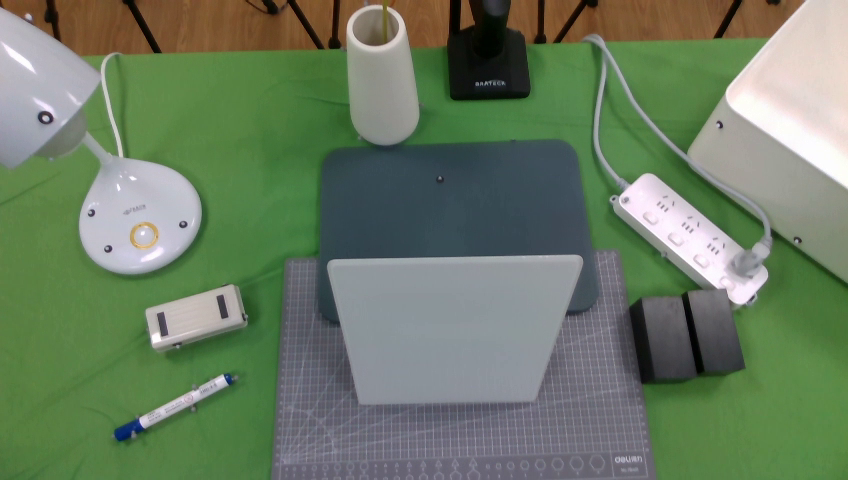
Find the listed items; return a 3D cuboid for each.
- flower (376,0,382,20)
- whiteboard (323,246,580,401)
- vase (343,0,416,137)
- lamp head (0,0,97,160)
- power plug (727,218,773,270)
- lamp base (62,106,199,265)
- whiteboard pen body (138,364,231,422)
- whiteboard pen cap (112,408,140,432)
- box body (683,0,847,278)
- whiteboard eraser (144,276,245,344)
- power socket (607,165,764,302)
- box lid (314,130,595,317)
[{"bbox_3d":[-0.054,-0.267,0.726,0.044,0.364,0.038,34,56,18],"label":"flower"},{"bbox_3d":[0.024,0.048,0.660,0.217,0.308,0.142,0,53,0],"label":"whiteboard"},{"bbox_3d":[-0.059,-0.221,0.797,0.098,0.201,0.097,1,67,-1],"label":"vase"},{"bbox_3d":[-0.347,-0.143,0.477,0.112,0.124,0.111,-28,36,23],"label":"lamp head"},{"bbox_3d":[0.422,0.012,0.778,0.072,0.053,0.035,-30,70,-16],"label":"power plug"},{"bbox_3d":[-0.392,-0.079,0.747,0.160,0.181,0.178,-31,70,-12],"label":"lamp base"},{"bbox_3d":[-0.300,0.189,0.732,0.141,0.017,0.017,-28,71,-10],"label":"whiteboard pen body"},{"bbox_3d":[-0.352,0.214,0.722,0.033,0.018,0.018,-28,71,-8],"label":"whiteboard pen cap"},{"bbox_3d":[0.562,-0.121,0.786,0.362,0.161,0.254,41,74,14],"label":"box body"},{"bbox_3d":[-0.287,0.087,0.759,0.113,0.042,0.055,-17,73,-7],"label":"whiteboard eraser"},{"bbox_3d":[0.349,-0.011,0.811,0.072,0.033,0.225,-41,74,-15],"label":"power socket"},{"bbox_3d":[0.038,-0.029,0.825,0.372,0.015,0.261,-3,69,-2],"label":"box lid"}]
